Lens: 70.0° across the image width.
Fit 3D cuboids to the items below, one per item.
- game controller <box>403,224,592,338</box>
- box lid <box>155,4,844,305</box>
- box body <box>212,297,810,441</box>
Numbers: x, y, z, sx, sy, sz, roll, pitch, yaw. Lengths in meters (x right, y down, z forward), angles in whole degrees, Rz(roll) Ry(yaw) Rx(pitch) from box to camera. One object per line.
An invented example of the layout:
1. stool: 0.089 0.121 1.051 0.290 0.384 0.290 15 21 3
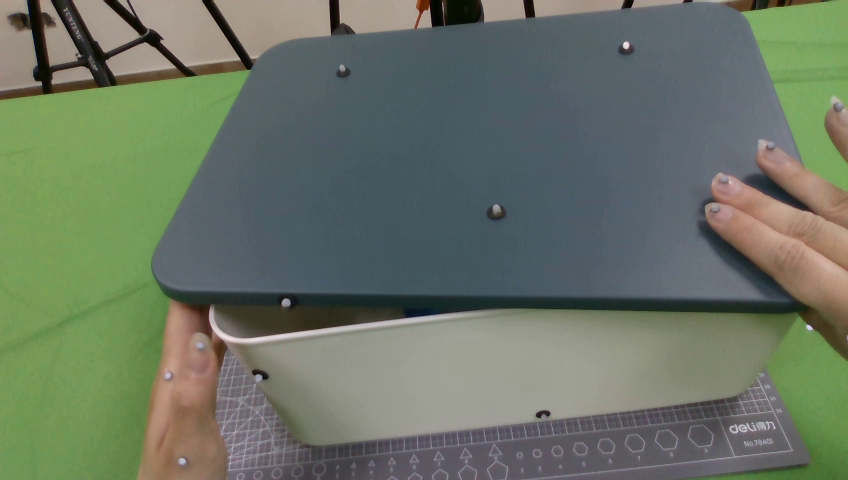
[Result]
1. game controller: 0.064 0.027 0.512 0.155 0.052 0.096 6 42 12
2. box lid: 0.033 -0.068 0.393 0.371 0.015 0.261 -1 49 10
3. box body: 0.057 -0.002 0.470 0.364 0.162 0.251 -7 47 1
